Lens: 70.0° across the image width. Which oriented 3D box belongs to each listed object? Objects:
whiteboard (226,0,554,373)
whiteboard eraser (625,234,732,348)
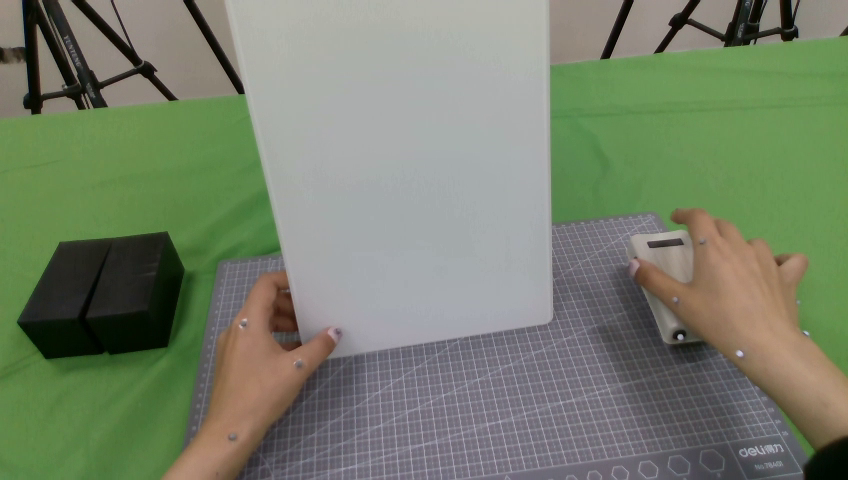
[{"bbox_3d":[-0.016,-0.069,0.517,0.217,0.307,0.142,-8,23,-4],"label":"whiteboard"},{"bbox_3d":[0.218,0.045,0.527,0.055,0.042,0.111,-4,42,0],"label":"whiteboard eraser"}]
